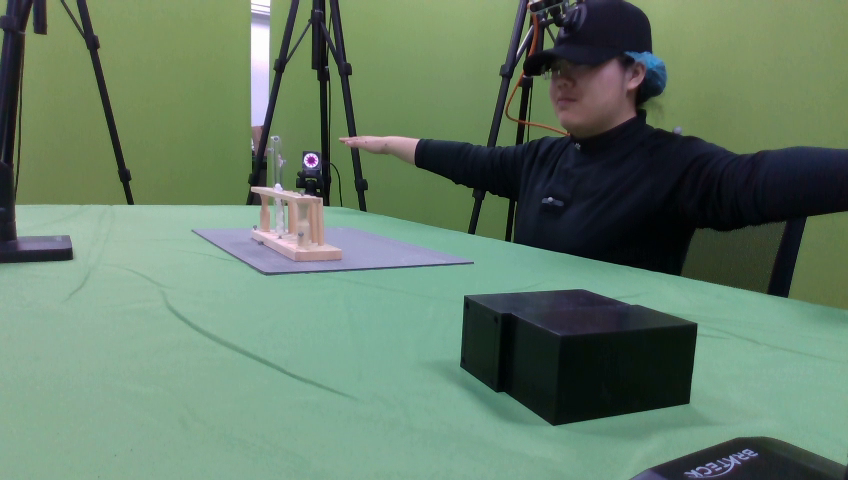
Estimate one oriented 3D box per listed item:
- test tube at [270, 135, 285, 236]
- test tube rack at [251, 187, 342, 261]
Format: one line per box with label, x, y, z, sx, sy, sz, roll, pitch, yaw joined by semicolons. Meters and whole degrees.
test tube;-0.218;-0.081;0.904;0.017;0.150;0.017;-2;4;0
test tube rack;-0.196;-0.030;0.902;0.067;0.085;0.241;-2;8;-29
